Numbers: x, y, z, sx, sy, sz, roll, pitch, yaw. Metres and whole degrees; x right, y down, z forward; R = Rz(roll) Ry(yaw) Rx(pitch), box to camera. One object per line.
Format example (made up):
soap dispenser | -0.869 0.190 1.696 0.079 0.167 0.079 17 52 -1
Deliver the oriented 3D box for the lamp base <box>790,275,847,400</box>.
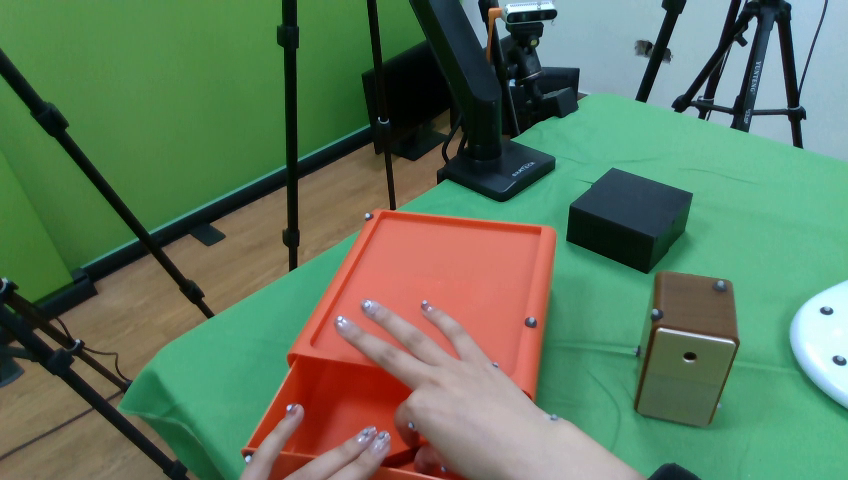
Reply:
lamp base | 0.408 0.029 0.492 0.160 0.182 0.178 6 37 13

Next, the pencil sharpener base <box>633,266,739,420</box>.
pencil sharpener base | 0.213 0.084 0.500 0.061 0.108 0.076 8 39 17

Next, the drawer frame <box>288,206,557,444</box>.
drawer frame | 0.012 0.064 0.565 0.201 0.083 0.212 5 38 14

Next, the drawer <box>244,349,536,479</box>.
drawer | -0.007 0.118 0.501 0.194 0.074 0.210 5 38 14

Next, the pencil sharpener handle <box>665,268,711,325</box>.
pencil sharpener handle | 0.226 0.043 0.531 0.036 0.068 0.030 13 41 13

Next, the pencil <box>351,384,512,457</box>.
pencil | -0.008 0.151 0.484 0.194 0.012 0.012 -22 41 -12
